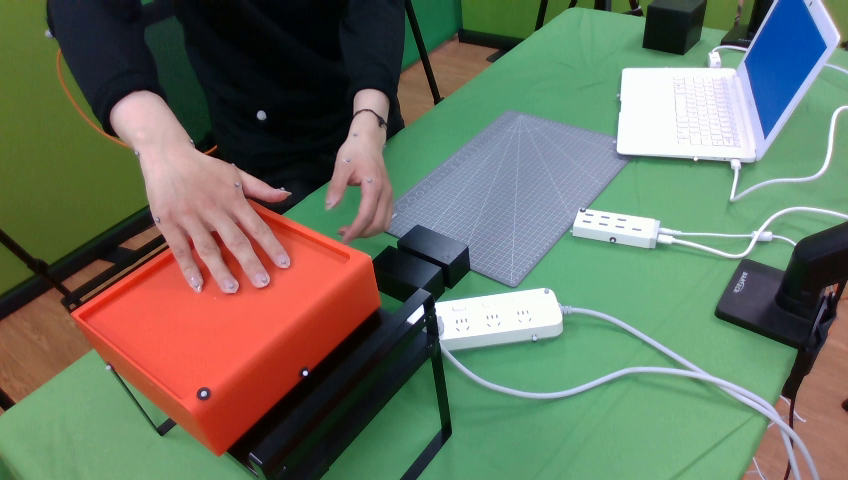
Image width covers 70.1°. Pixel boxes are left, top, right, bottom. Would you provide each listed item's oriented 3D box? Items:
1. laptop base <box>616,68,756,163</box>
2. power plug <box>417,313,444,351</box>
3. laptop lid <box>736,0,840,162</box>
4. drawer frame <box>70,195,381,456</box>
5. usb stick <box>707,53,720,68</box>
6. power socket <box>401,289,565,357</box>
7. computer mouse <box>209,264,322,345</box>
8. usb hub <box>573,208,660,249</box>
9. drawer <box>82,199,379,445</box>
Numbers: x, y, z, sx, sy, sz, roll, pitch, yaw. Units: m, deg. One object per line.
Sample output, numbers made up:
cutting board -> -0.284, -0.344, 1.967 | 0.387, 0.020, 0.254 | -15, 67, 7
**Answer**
laptop base -> 0.509, -0.255, 1.201 | 0.234, 0.023, 0.353 | 4, 41, 16
power plug -> 0.006, 0.127, 0.786 | 0.035, 0.053, 0.072 | 1, 43, 9
laptop lid -> 0.640, -0.327, 1.090 | 0.013, 0.242, 0.356 | 16, 43, 5
drawer frame -> -0.186, 0.068, 0.596 | 0.200, 0.083, 0.214 | 23, 50, 30
usb stick -> 0.629, -0.382, 1.313 | 0.021, 0.027, 0.059 | 2, 46, 16
power socket -> 0.080, 0.112, 0.822 | 0.227, 0.033, 0.072 | -7, 41, -1
computer mouse -> -0.164, 0.062, 0.624 | 0.116, 0.041, 0.063 | 23, 44, 26
usb hub -> 0.301, -0.019, 0.949 | 0.124, 0.025, 0.049 | 11, 43, 20
drawer -> -0.185, 0.066, 0.600 | 0.193, 0.073, 0.212 | 24, 50, 31
